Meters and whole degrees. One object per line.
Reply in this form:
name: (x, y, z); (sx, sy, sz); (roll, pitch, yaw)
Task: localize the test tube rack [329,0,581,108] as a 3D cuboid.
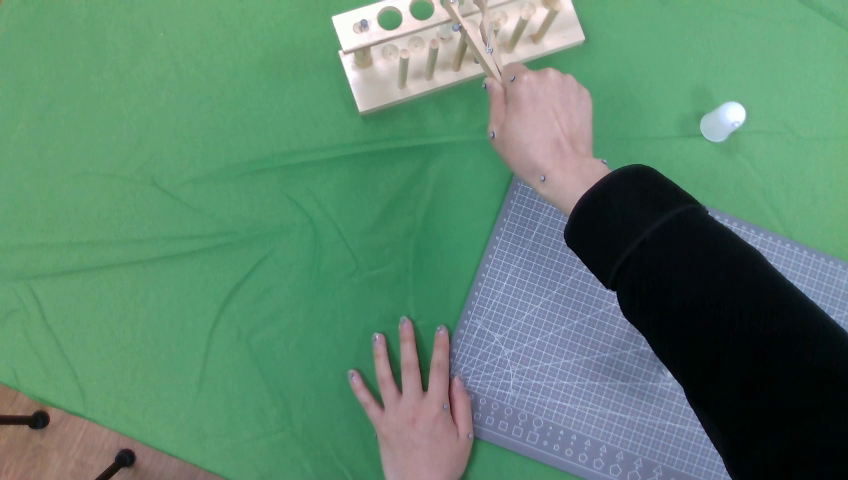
test tube rack: (0.038, -0.206, 0.579); (0.242, 0.085, 0.066); (-19, 86, -5)

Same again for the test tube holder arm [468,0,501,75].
test tube holder arm: (0.050, -0.178, 0.515); (0.010, 0.015, 0.087); (-9, 79, -11)

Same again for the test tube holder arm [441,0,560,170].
test tube holder arm: (0.062, -0.136, 0.507); (0.013, 0.015, 0.178); (-27, 83, -13)

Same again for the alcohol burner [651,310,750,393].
alcohol burner: (0.259, 0.103, 0.556); (0.078, 0.119, 0.077); (0, 83, -3)

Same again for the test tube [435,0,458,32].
test tube: (0.027, -0.223, 0.530); (0.017, 0.150, 0.017); (1, 82, -7)

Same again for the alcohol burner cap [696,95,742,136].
alcohol burner cap: (0.302, -0.128, 0.612); (0.034, 0.048, 0.033); (0, 80, -2)
